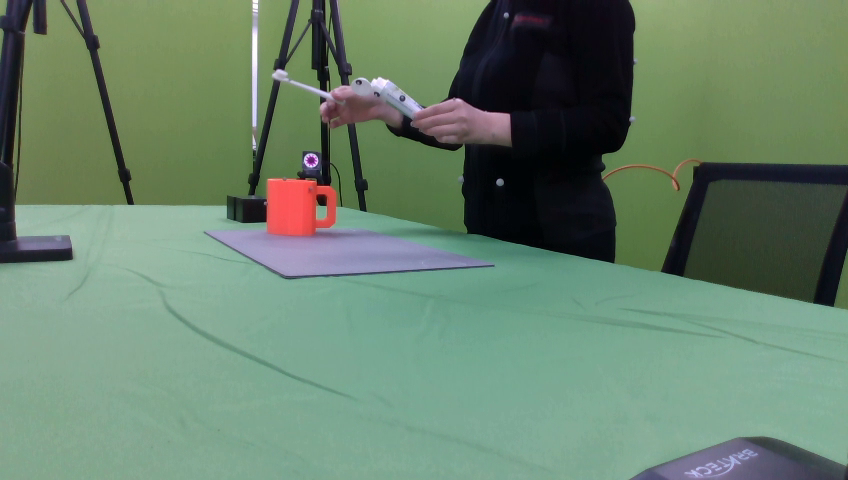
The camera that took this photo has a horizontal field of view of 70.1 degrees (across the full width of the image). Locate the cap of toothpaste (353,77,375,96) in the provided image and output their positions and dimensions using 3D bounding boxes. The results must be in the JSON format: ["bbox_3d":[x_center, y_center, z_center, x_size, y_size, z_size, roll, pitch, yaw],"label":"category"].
[{"bbox_3d":[-0.099,-0.254,0.993,0.037,0.011,0.037,0,-37,0],"label":"cap of toothpaste"}]

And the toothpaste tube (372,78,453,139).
[{"bbox_3d":[-0.019,-0.222,1.022,0.165,0.034,0.055,32,23,-10],"label":"toothpaste tube"}]

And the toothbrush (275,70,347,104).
[{"bbox_3d":[-0.203,-0.280,1.117,0.014,0.016,0.183,49,21,26],"label":"toothbrush"}]

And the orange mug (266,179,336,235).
[{"bbox_3d":[-0.222,-0.062,1.094,0.127,0.101,0.083,-5,10,-22],"label":"orange mug"}]
